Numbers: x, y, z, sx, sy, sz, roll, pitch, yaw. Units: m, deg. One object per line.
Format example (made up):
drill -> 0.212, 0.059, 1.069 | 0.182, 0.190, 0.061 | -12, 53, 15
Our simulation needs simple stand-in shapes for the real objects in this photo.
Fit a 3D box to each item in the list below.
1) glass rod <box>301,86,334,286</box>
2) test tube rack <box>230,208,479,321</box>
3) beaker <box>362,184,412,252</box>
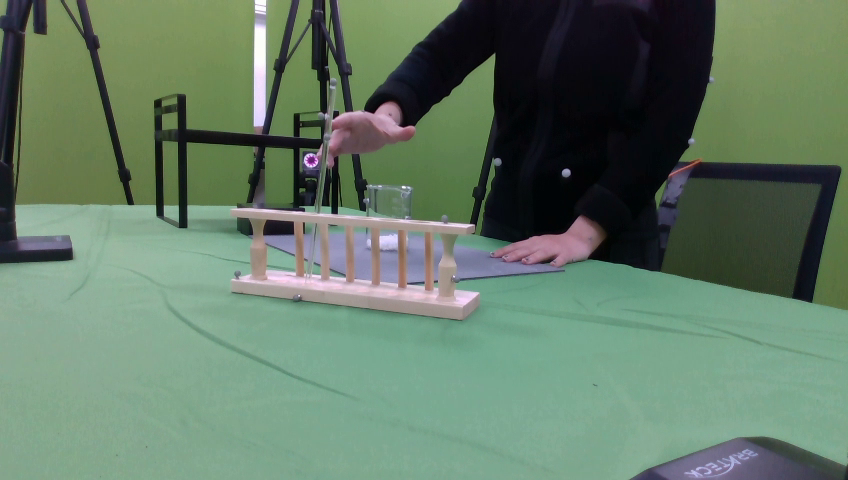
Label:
glass rod -> -0.104, -0.049, 0.588 | 0.008, 0.199, 0.008 | 9, 7, -1
test tube rack -> -0.069, 0.017, 0.598 | 0.242, 0.085, 0.067 | 5, 8, 18
beaker -> -0.055, -0.034, 0.935 | 0.074, 0.100, 0.083 | -5, 11, -45
